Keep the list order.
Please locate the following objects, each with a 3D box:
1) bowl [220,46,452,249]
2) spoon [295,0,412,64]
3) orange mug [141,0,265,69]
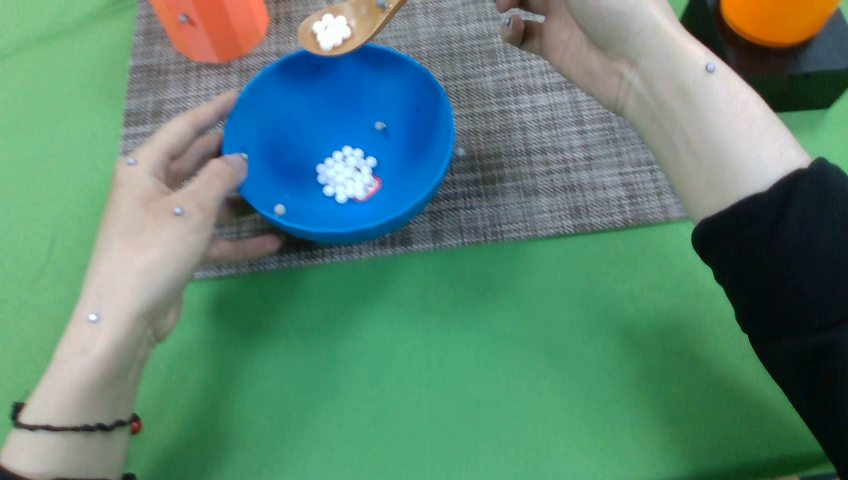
[{"bbox_3d":[-0.056,-0.052,0.425,0.151,0.077,0.150,0,65,1],"label":"bowl"},{"bbox_3d":[0.009,-0.156,0.363,0.193,0.022,0.041,-25,60,14],"label":"spoon"},{"bbox_3d":[-0.183,-0.220,0.494,0.083,0.101,0.125,4,69,3],"label":"orange mug"}]
